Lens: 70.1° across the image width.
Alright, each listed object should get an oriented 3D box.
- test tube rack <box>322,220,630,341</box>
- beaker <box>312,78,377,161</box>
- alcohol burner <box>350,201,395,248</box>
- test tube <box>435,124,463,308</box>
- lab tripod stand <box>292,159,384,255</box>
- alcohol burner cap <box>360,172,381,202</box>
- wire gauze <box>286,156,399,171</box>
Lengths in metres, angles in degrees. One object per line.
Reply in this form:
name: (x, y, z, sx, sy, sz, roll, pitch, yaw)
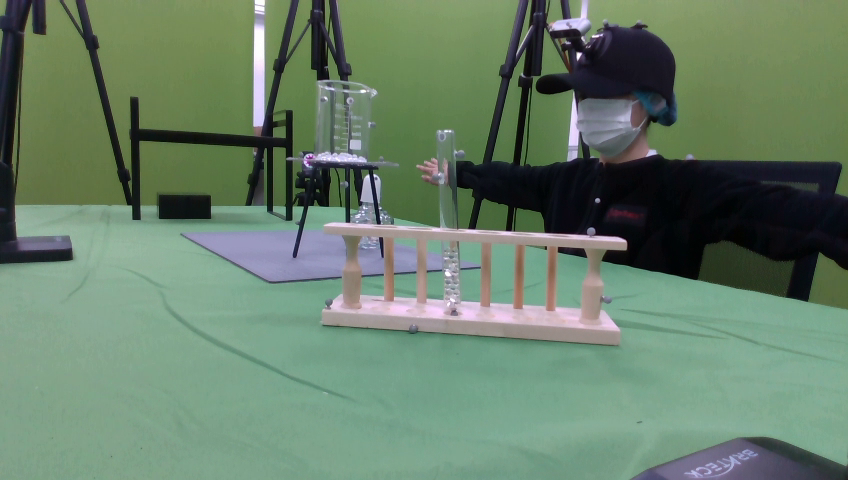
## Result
test tube rack: (0.041, 0.029, 0.512, 0.242, 0.085, 0.067, 3, 7, 5)
beaker: (-0.103, -0.151, 0.775, 0.084, 0.100, 0.074, 5, 7, 14)
alcohol burner: (-0.084, -0.048, 0.953, 0.078, 0.119, 0.078, 1, 6, 0)
test tube: (0.021, -0.018, 0.491, 0.017, 0.150, 0.017, -3, 6, 1)
lab tripod stand: (-0.105, -0.039, 0.797, 0.148, 0.131, 0.148, 2, 5, 0)
alcohol burner cap: (-0.081, -0.084, 0.949, 0.034, 0.048, 0.034, 7, 7, -1)
wire gauze: (-0.101, -0.103, 0.788, 0.121, 0.011, 0.125, 5, 4, 6)
